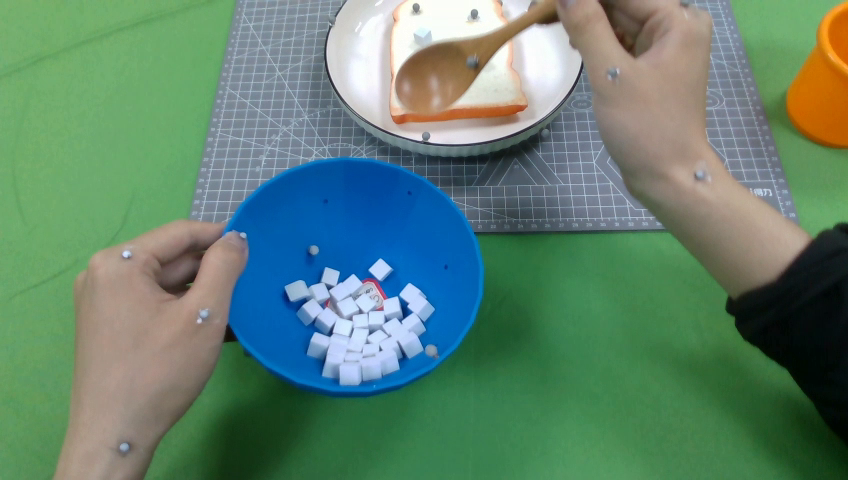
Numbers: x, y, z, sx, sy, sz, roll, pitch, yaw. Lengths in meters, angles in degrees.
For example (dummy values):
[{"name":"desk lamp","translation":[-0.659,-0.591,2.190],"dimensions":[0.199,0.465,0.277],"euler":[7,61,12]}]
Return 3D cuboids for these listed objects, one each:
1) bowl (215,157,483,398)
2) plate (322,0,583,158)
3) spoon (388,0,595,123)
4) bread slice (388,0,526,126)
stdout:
[{"name":"bowl","translation":[-0.045,0.032,0.374],"dimensions":[0.152,0.077,0.150],"euler":[5,59,-8]},{"name":"plate","translation":[0.022,-0.149,0.501],"dimensions":[0.209,0.038,0.207],"euler":[-1,62,3]},{"name":"spoon","translation":[0.057,-0.119,0.344],"dimensions":[0.193,0.022,0.041],"euler":[-22,92,35]},{"name":"bread slice","translation":[0.019,-0.153,0.506],"dimensions":[0.107,0.018,0.133],"euler":[-7,64,0]}]
